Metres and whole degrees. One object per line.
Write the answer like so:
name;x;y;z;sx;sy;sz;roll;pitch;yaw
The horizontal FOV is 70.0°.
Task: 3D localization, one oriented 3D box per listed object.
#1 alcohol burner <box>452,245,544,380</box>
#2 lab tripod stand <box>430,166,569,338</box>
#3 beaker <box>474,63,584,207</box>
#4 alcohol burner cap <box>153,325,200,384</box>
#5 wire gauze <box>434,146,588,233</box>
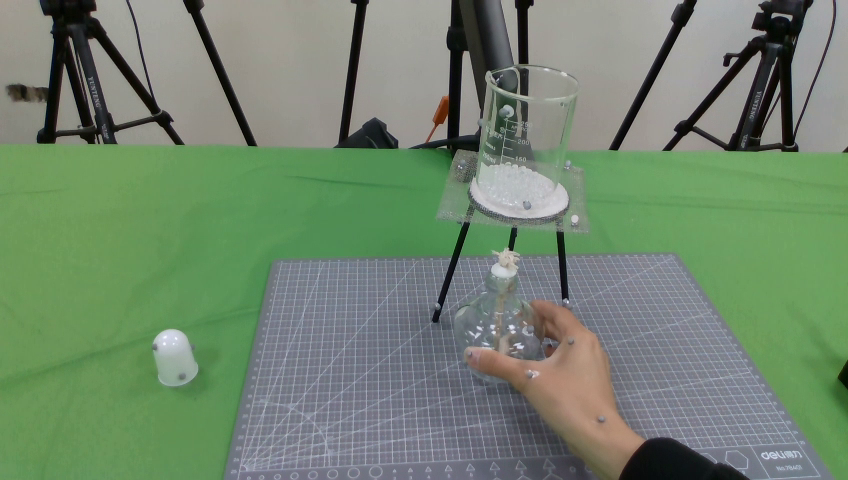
alcohol burner;0.061;0.057;0.500;0.078;0.120;0.077;-1;32;1
lab tripod stand;0.082;0.010;0.560;0.148;0.132;0.147;4;35;-2
beaker;0.078;-0.085;0.495;0.083;0.101;0.074;32;43;33
alcohol burner cap;-0.208;0.093;0.505;0.034;0.048;0.033;2;35;-1
wire gauze;0.078;-0.044;0.522;0.121;0.011;0.124;8;38;7
